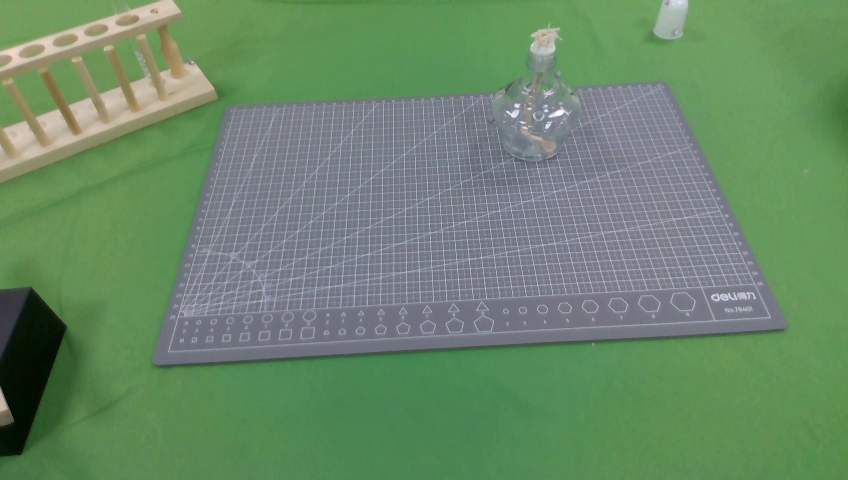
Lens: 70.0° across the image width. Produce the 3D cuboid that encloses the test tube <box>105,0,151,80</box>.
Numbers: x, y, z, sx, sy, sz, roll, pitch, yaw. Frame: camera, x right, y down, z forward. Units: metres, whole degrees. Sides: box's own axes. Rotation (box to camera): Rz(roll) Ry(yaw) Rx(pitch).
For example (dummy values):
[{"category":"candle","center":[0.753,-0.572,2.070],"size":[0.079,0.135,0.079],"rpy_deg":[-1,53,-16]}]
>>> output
[{"category":"test tube","center":[-0.290,-0.219,0.574],"size":[0.017,0.152,0.017],"rpy_deg":[-3,47,4]}]

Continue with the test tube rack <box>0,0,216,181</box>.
[{"category":"test tube rack","center":[-0.337,-0.142,0.577],"size":[0.242,0.086,0.066],"rpy_deg":[-28,54,-20]}]

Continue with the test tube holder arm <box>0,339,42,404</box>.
[{"category":"test tube holder arm","center":[-0.295,0.049,0.393],"size":[0.177,0.015,0.013],"rpy_deg":[31,60,27]}]

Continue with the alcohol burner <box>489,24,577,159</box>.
[{"category":"alcohol burner","center":[0.096,-0.130,0.524],"size":[0.078,0.120,0.077],"rpy_deg":[-1,48,1]}]

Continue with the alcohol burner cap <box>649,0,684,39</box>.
[{"category":"alcohol burner cap","center":[0.271,-0.250,0.669],"size":[0.034,0.048,0.033],"rpy_deg":[-2,50,3]}]
